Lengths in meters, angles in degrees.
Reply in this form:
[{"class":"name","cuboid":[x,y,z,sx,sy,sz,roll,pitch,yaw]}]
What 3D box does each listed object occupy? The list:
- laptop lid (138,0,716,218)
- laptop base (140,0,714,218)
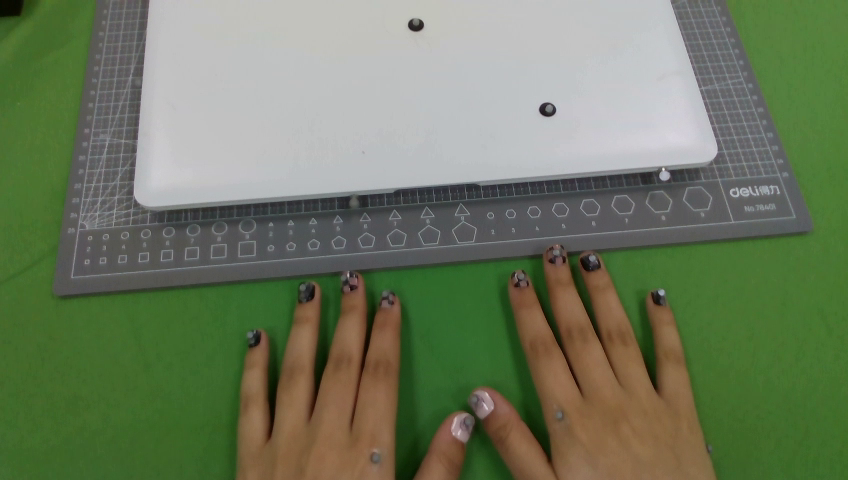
[{"class":"laptop lid","cuboid":[-0.004,-0.134,0.403,0.357,0.013,0.240,-4,68,-3]},{"class":"laptop base","cuboid":[-0.004,-0.131,0.415,0.355,0.023,0.233,-5,69,-4]}]
